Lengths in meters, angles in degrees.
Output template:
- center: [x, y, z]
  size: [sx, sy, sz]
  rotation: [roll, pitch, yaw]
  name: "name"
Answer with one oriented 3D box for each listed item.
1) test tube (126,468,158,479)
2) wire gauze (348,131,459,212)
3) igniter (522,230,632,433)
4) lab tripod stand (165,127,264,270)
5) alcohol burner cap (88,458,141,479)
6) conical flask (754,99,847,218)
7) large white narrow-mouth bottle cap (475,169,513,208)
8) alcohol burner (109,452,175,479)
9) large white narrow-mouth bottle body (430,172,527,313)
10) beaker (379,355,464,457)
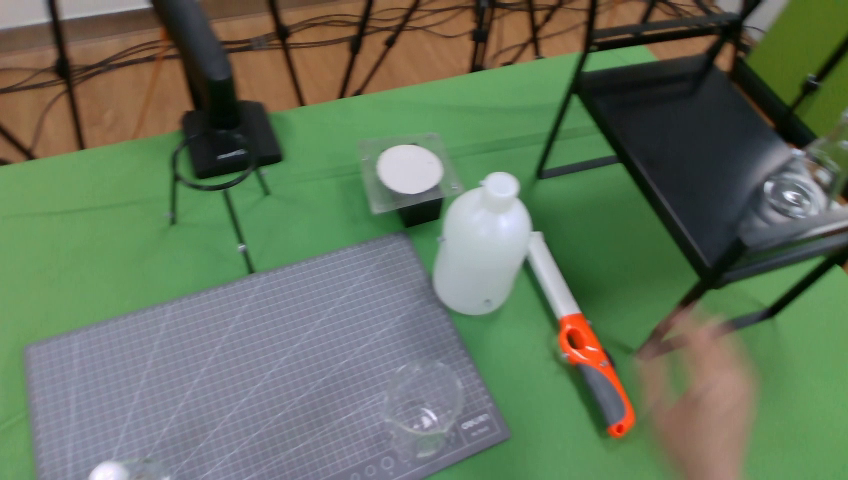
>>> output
- center: [-0.163, 0.188, 0.403]
  size: [0.017, 0.151, 0.017]
  rotation: [0, 48, 1]
  name: "test tube"
- center: [-0.028, -0.096, 0.795]
  size: [0.122, 0.011, 0.124]
  rotation: [-11, 57, -15]
  name: "wire gauze"
- center: [0.178, 0.100, 0.735]
  size: [0.057, 0.025, 0.273]
  rotation: [-6, 55, -24]
  name: "igniter"
- center: [-0.242, -0.053, 0.720]
  size: [0.149, 0.132, 0.147]
  rotation: [5, 55, -7]
  name: "lab tripod stand"
- center: [-0.259, 0.201, 0.505]
  size: [0.034, 0.048, 0.033]
  rotation: [1, 51, -1]
  name: "alcohol burner cap"
- center: [0.401, -0.084, 0.614]
  size: [0.075, 0.123, 0.074]
  rotation: [4, 55, -5]
  name: "conical flask"
- center: [0.071, -0.053, 0.619]
  size: [0.038, 0.024, 0.037]
  rotation: [3, 55, -4]
  name: "large white narrow-mouth bottle cap"
- center: [-0.263, 0.221, 0.534]
  size: [0.078, 0.120, 0.077]
  rotation: [5, 53, -6]
  name: "alcohol burner"
- center: [0.063, -0.002, 0.688]
  size: [0.102, 0.196, 0.101]
  rotation: [3, 55, -4]
  name: "large white narrow-mouth bottle body"
- center: [-0.007, 0.173, 0.611]
  size: [0.084, 0.101, 0.073]
  rotation: [-21, 60, -19]
  name: "beaker"
